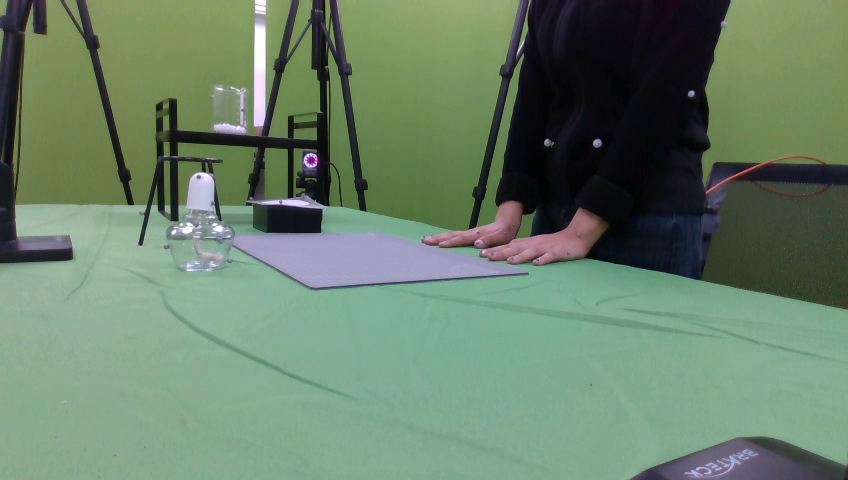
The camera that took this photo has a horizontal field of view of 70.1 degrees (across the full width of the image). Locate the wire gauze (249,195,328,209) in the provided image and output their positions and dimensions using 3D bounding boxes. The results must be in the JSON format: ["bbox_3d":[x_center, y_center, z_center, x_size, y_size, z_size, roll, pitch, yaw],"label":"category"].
[{"bbox_3d":[-0.260,-0.071,1.139,0.126,0.011,0.121,-3,12,-28],"label":"wire gauze"}]

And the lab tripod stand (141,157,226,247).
[{"bbox_3d":[-0.353,-0.060,0.920,0.148,0.131,0.148,1,6,0],"label":"lab tripod stand"}]

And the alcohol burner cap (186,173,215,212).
[{"bbox_3d":[-0.268,-0.057,0.731,0.034,0.048,0.034,6,2,0],"label":"alcohol burner cap"}]

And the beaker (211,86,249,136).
[{"bbox_3d":[-0.413,-0.274,1.298,0.074,0.100,0.083,-5,11,-44],"label":"beaker"}]

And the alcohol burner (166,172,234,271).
[{"bbox_3d":[-0.271,-0.023,0.735,0.078,0.119,0.078,2,5,0],"label":"alcohol burner"}]
